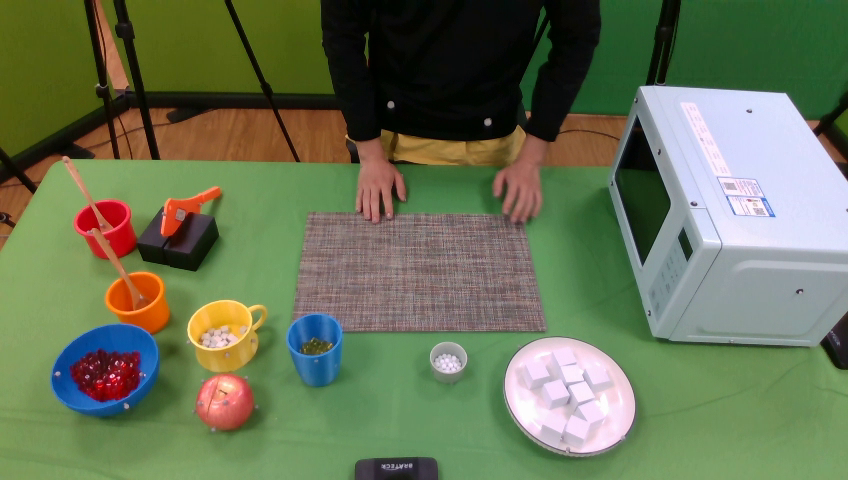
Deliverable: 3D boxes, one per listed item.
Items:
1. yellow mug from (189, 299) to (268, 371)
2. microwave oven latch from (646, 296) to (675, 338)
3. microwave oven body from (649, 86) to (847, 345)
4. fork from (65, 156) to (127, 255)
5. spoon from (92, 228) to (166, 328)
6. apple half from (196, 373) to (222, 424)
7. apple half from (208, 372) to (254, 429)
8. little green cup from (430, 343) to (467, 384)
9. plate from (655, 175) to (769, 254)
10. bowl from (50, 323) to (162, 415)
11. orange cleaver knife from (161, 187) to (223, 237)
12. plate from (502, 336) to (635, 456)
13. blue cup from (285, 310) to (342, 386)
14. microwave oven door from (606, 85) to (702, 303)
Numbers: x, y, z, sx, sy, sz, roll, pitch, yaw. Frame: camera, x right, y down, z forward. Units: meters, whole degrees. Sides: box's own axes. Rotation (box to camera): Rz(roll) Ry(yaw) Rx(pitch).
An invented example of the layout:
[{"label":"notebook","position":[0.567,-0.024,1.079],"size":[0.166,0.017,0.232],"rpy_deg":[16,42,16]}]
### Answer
[{"label":"yellow mug","position":[-0.316,0.148,1.002],"size":[0.131,0.064,0.099],"rpy_deg":[-32,56,-31]},{"label":"microwave oven latch","position":[0.412,0.134,1.061],"size":[0.030,0.029,0.078],"rpy_deg":[4,45,1]},{"label":"microwave oven body","position":[0.568,-0.053,1.118],"size":[0.326,0.261,0.439],"rpy_deg":[2,45,-1]},{"label":"fork","position":[-0.614,-0.064,1.130],"size":[0.028,0.018,0.207],"rpy_deg":[-29,96,-16]},{"label":"spoon","position":[-0.495,0.063,1.014],"size":[0.041,0.194,0.021],"rpy_deg":[-34,12,-31]},{"label":"apple half","position":[-0.322,0.239,0.907],"size":[0.033,0.081,0.081],"rpy_deg":[7,46,-1]},{"label":"apple half","position":[-0.282,0.244,0.908],"size":[0.053,0.075,0.080],"rpy_deg":[7,43,-1]},{"label":"little green cup","position":[0.039,0.203,0.994],"size":[0.061,0.039,0.061],"rpy_deg":[2,46,-2]},{"label":"plate","position":[0.555,-0.046,1.184],"size":[0.209,0.038,0.208],"rpy_deg":[2,46,-2]},{"label":"bowl","position":[-0.472,0.209,0.924],"size":[0.151,0.077,0.150],"rpy_deg":[3,45,-2]},{"label":"orange cleaver knife","position":[-0.448,-0.058,1.180],"size":[0.012,0.077,0.211],"rpy_deg":[13,17,6]},{"label":"plate","position":[0.225,0.248,0.963],"size":[0.208,0.039,0.206],"rpy_deg":[2,46,-2]},{"label":"blue cup","position":[-0.170,0.179,0.958],"size":[0.093,0.101,0.092],"rpy_deg":[1,44,-1]},{"label":"microwave oven door","position":[0.423,-0.094,1.140],"size":[0.039,0.245,0.353],"rpy_deg":[2,46,-1]}]
